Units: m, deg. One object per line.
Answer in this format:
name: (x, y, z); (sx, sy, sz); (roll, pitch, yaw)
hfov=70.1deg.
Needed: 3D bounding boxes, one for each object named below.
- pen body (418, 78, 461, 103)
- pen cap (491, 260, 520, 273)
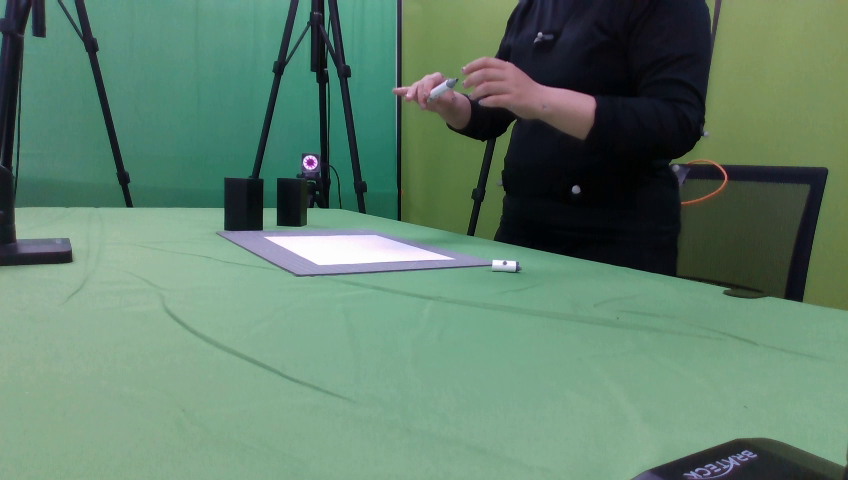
pen body: (0.028, -0.271, 1.095); (0.017, 0.017, 0.143); (-1, -3, -28)
pen cap: (0.110, 0.036, 0.813); (0.038, 0.017, 0.017); (3, 7, 7)
